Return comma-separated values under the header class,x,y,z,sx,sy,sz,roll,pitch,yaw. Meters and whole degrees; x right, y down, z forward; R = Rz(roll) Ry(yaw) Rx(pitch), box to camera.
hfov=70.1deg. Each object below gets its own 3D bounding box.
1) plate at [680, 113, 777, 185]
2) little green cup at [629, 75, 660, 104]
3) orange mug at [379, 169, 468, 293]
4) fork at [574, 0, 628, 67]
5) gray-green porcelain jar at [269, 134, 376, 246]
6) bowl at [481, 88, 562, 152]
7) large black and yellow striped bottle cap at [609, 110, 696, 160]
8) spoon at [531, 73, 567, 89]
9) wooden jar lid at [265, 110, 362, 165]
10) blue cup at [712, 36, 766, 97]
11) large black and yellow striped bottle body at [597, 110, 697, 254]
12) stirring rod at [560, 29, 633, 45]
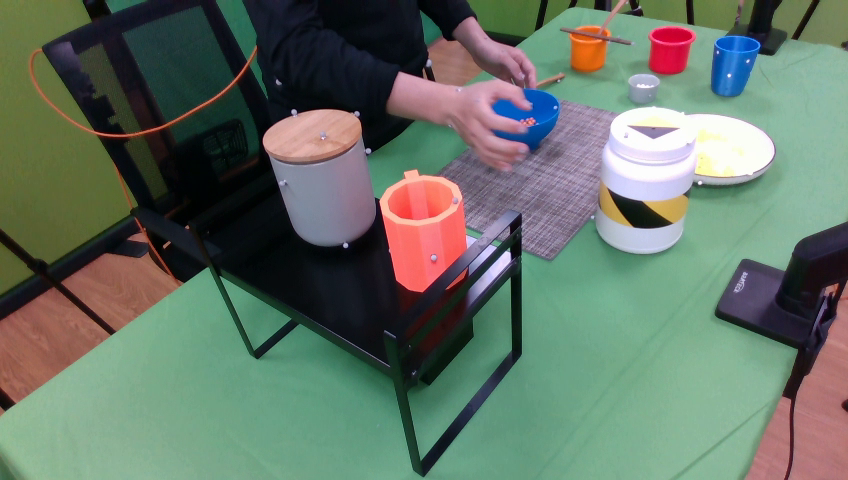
class,x,y,z,sx,sy,sz,roll,pitch,yaw
plate,0.506,-0.158,1.073,0.209,0.038,0.208,-4,40,4
little green cup,0.457,-0.314,1.260,0.061,0.039,0.061,-4,40,4
orange mug,-0.002,-0.019,0.665,0.083,0.101,0.125,-12,45,-4
fork,0.413,-0.481,1.377,0.207,0.019,0.028,-56,43,12
gray-green porcelain jar,-0.115,-0.064,0.715,0.106,0.127,0.105,-4,40,4
bowl,0.187,-0.222,1.161,0.151,0.077,0.150,-5,40,4
large black and yellow striped bottle cap,0.319,-0.150,0.849,0.115,0.019,0.114,-4,39,3
spoon,0.250,-0.336,1.332,0.194,0.022,0.041,-32,31,-25
wooden jar lid,-0.122,-0.112,0.673,0.108,0.021,0.108,-4,37,4
blue cup,0.627,-0.350,1.227,0.092,0.100,0.092,-4,39,4
large black and yellow striped bottle body,0.331,-0.086,0.904,0.131,0.185,0.130,-5,41,4
stirring rod,0.381,-0.452,1.345,0.174,0.006,0.014,25,49,33
